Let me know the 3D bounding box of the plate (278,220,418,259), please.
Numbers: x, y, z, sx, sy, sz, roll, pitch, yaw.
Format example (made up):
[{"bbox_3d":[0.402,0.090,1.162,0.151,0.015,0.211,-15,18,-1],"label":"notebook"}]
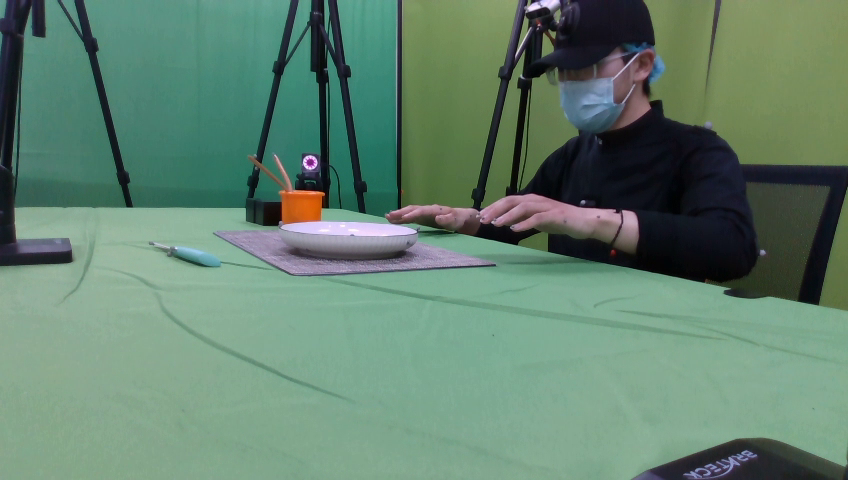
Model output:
[{"bbox_3d":[-0.114,-0.002,0.914,0.209,0.038,0.209,2,7,0],"label":"plate"}]

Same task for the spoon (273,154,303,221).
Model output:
[{"bbox_3d":[-0.280,-0.107,1.247,0.021,0.193,0.042,-28,-29,9],"label":"spoon"}]

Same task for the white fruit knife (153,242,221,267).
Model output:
[{"bbox_3d":[-0.335,0.016,0.832,0.206,0.016,0.027,7,-19,47],"label":"white fruit knife"}]

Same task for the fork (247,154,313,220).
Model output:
[{"bbox_3d":[-0.275,-0.096,1.188,0.028,0.018,0.208,28,-20,48],"label":"fork"}]
